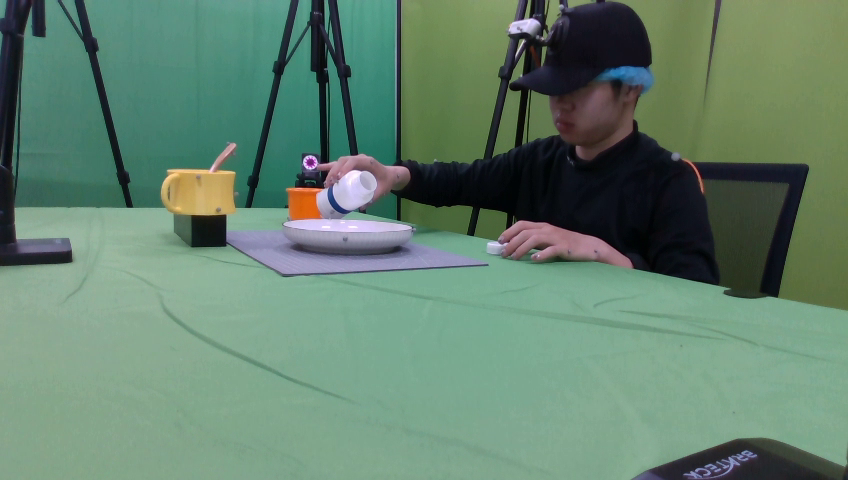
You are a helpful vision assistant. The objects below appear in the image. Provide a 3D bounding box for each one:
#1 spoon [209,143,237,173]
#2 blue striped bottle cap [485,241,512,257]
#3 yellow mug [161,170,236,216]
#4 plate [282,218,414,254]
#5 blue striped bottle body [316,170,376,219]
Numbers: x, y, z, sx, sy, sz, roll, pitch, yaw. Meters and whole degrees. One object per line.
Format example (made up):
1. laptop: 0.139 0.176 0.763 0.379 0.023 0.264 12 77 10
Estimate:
1. spoon: -0.341 -0.113 0.990 0.041 0.021 0.193 1 40 7
2. blue striped bottle cap: 0.123 0.015 1.000 0.044 0.020 0.044 5 8 0
3. yellow mug: -0.354 -0.074 0.935 0.099 0.064 0.131 5 9 21
4. plate: -0.121 -0.007 0.971 0.208 0.039 0.207 2 7 0
5. blue striped bottle body: -0.137 -0.084 1.081 0.063 0.063 0.120 -5 -15 -45
